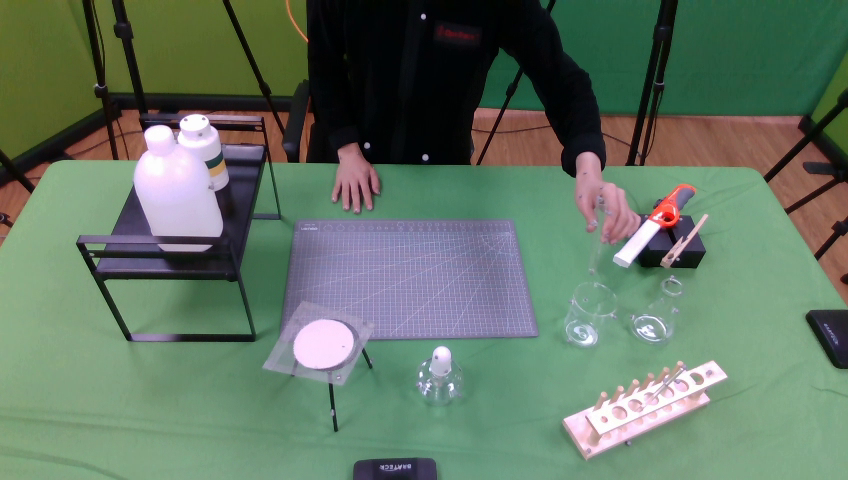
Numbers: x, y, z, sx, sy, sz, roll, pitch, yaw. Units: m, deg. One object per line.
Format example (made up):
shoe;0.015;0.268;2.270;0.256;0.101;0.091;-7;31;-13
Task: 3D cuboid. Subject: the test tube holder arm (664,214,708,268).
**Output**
test tube holder arm;0.507;0.000;1.170;0.013;0.015;0.178;36;54;25

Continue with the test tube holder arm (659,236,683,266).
test tube holder arm;0.473;0.020;1.149;0.010;0.015;0.088;37;55;26

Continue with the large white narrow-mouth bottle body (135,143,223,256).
large white narrow-mouth bottle body;-0.358;-0.075;0.874;0.102;0.195;0.101;2;44;-1

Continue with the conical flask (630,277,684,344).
conical flask;0.408;0.117;1.045;0.075;0.122;0.075;2;46;-2

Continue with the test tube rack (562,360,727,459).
test tube rack;0.341;0.247;0.940;0.243;0.085;0.066;-16;49;-18

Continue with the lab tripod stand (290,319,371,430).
lab tripod stand;-0.146;0.194;0.923;0.148;0.132;0.147;1;47;-1

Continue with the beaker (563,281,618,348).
beaker;0.283;0.129;1.041;0.074;0.101;0.083;11;46;7

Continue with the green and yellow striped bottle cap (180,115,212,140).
green and yellow striped bottle cap;-0.358;-0.177;0.951;0.045;0.020;0.045;1;44;-1

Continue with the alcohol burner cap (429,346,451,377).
alcohol burner cap;0.026;0.180;0.912;0.034;0.048;0.033;1;47;-1

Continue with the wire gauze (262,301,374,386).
wire gauze;-0.150;0.148;0.873;0.121;0.011;0.124;14;46;12

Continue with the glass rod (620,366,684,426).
glass rod;0.323;0.227;0.866;0.008;0.200;0.008;5;51;-7

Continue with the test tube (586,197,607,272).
test tube;0.252;-0.004;0.889;0.017;0.151;0.017;-4;46;4

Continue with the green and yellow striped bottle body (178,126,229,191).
green and yellow striped bottle body;-0.361;-0.142;0.989;0.063;0.120;0.063;2;46;-2

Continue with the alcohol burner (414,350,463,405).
alcohol burner;0.023;0.205;0.939;0.078;0.120;0.077;1;48;-1

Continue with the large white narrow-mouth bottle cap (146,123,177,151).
large white narrow-mouth bottle cap;-0.354;-0.138;0.815;0.038;0.024;0.037;2;44;-1

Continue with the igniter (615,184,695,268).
igniter;0.459;-0.035;1.196;0.057;0.025;0.276;32;55;27
